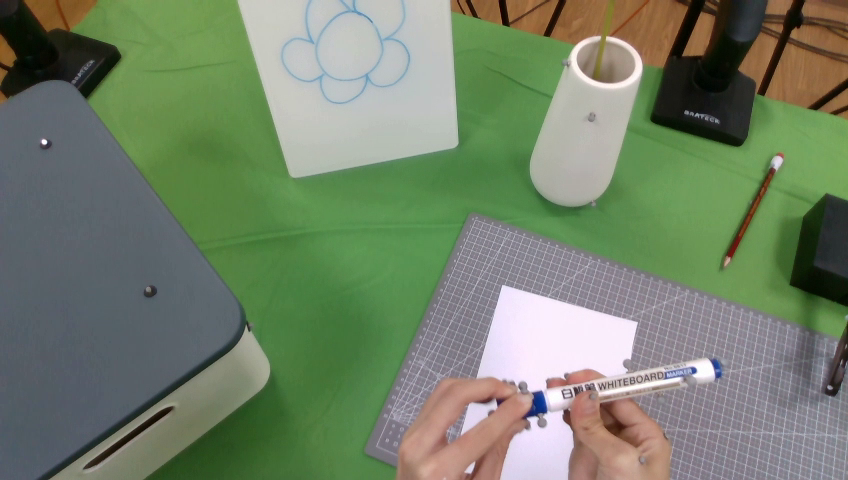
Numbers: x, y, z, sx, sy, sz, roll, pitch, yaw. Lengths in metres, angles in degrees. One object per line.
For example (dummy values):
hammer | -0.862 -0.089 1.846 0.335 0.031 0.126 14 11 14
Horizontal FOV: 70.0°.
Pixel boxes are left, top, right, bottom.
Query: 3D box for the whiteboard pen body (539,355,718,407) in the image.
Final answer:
whiteboard pen body | 0.122 0.095 0.398 0.141 0.017 0.017 -11 62 1

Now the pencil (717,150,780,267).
pencil | 0.389 -0.040 0.727 0.012 0.012 0.193 31 67 16

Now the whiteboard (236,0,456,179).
whiteboard | -0.090 -0.255 0.708 0.217 0.308 0.142 -11 43 -5

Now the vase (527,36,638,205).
vase | 0.171 -0.125 0.665 0.098 0.201 0.097 0 60 1

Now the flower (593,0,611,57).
flower | 0.169 -0.178 0.599 0.044 0.365 0.038 13 45 11

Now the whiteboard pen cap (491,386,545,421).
whiteboard pen cap | 0.062 0.107 0.398 0.033 0.018 0.018 -14 62 -1

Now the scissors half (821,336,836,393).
scissors half | 0.441 0.075 0.627 0.012 0.040 0.175 17 81 36

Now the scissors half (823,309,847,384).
scissors half | 0.433 0.066 0.610 0.012 0.040 0.174 19 64 30

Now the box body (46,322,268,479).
box body | -0.353 0.057 0.586 0.254 0.161 0.361 -37 68 -18

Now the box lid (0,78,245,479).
box lid | -0.354 0.020 0.521 0.263 0.015 0.368 -37 68 -18
